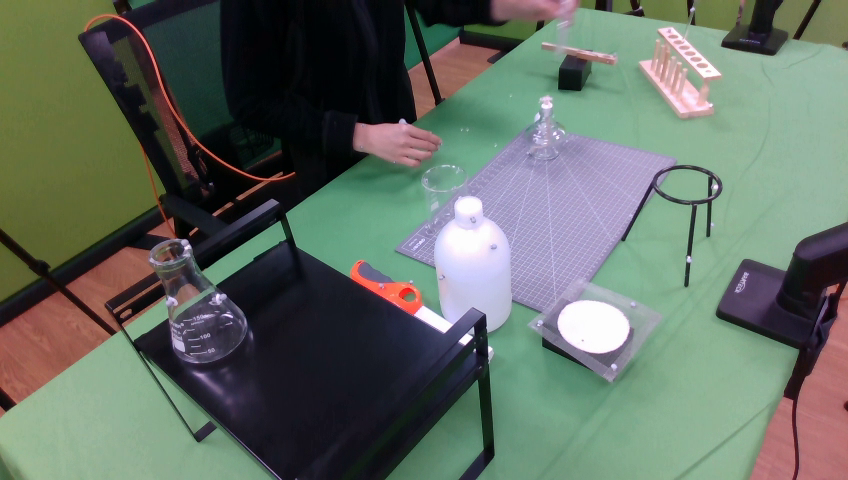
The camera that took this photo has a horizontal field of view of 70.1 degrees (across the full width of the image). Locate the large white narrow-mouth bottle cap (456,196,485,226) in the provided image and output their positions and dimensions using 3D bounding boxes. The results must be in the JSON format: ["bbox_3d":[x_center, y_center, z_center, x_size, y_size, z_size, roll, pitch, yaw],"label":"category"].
[{"bbox_3d":[0.057,-0.036,0.749,0.038,0.024,0.037,-4,40,4],"label":"large white narrow-mouth bottle cap"}]

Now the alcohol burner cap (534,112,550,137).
[{"bbox_3d":[0.234,-0.231,1.197,0.034,0.048,0.033,-4,39,4],"label":"alcohol burner cap"}]

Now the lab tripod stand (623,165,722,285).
[{"bbox_3d":[0.365,-0.030,0.875,0.148,0.132,0.147,-6,41,6],"label":"lab tripod stand"}]

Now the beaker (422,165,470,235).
[{"bbox_3d":[0.041,-0.063,0.986,0.073,0.101,0.084,20,47,29],"label":"beaker"}]

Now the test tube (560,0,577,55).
[{"bbox_3d":[0.262,-0.407,1.088,0.017,0.150,0.017,1,37,0],"label":"test tube"}]

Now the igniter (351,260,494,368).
[{"bbox_3d":[-0.013,0.098,0.864,0.274,0.025,0.057,30,65,36],"label":"igniter"}]

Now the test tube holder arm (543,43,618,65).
[{"bbox_3d":[0.344,-0.413,1.340,0.177,0.015,0.013,25,51,31],"label":"test tube holder arm"}]

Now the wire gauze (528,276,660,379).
[{"bbox_3d":[0.213,0.103,0.763,0.124,0.011,0.122,30,52,35],"label":"wire gauze"}]

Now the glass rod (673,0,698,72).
[{"bbox_3d":[0.537,-0.425,1.245,0.008,0.200,0.008,0,47,0],"label":"glass rod"}]

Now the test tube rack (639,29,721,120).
[{"bbox_3d":[0.527,-0.351,1.262,0.067,0.085,0.241,-8,40,1],"label":"test tube rack"}]

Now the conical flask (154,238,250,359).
[{"bbox_3d":[-0.225,0.055,0.597,0.075,0.122,0.075,-5,41,4],"label":"conical flask"}]

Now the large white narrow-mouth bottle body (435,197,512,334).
[{"bbox_3d":[0.066,0.028,0.805,0.102,0.195,0.101,-4,40,4],"label":"large white narrow-mouth bottle body"}]

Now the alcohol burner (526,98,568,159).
[{"bbox_3d":[0.227,-0.210,1.118,0.078,0.119,0.077,-5,43,5],"label":"alcohol burner"}]

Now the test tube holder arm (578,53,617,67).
[{"bbox_3d":[0.376,-0.393,1.314,0.087,0.015,0.010,26,51,32],"label":"test tube holder arm"}]
